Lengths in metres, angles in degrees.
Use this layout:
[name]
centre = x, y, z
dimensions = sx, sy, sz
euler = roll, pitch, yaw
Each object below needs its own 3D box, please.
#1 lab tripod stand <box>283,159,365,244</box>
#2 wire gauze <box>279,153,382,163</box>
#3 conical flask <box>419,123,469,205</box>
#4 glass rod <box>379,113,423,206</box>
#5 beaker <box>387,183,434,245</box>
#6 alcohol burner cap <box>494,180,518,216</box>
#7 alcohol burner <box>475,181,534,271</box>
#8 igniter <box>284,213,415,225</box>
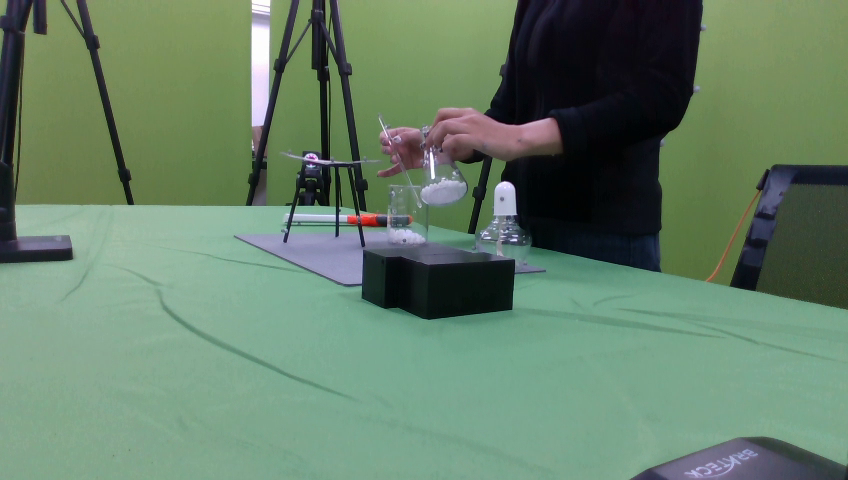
[lab tripod stand]
centre = -0.151, -0.063, 0.983
dimensions = 0.148, 0.131, 0.148
euler = 4, 7, 0
[wire gauze]
centre = -0.149, -0.129, 0.974
dimensions = 0.124, 0.011, 0.122
euler = 10, 9, 41
[conical flask]
centre = 0.022, -0.121, 0.933
dimensions = 0.075, 0.121, 0.075
euler = -9, -26, -4
[glass rod]
centre = -0.040, -0.139, 1.025
dimensions = 0.008, 0.199, 0.008
euler = -20, -24, -9
[beaker]
centre = -0.027, -0.044, 1.012
dimensions = 0.074, 0.100, 0.083
euler = -2, 8, -34
[alcohol burner cap]
centre = 0.108, -0.056, 0.800
dimensions = 0.034, 0.048, 0.034
euler = -2, 4, 0
[alcohol burner]
centre = 0.108, -0.020, 0.804
dimensions = 0.078, 0.119, 0.078
euler = 3, 5, 0
[igniter]
centre = -0.154, -0.045, 1.282
dimensions = 0.278, 0.025, 0.057
euler = 0, -2, -20
